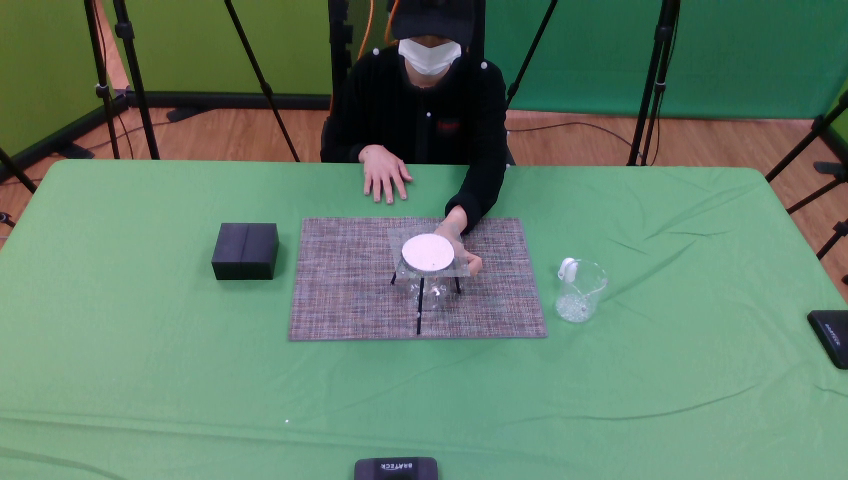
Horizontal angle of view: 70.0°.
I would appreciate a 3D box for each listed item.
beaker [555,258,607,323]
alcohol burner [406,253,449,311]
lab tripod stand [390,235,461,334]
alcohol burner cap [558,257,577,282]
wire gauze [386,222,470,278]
[{"bbox_3d":[0.275,0.094,1.073,0.074,0.101,0.083,10,47,6],"label":"beaker"},{"bbox_3d":[0.007,0.068,1.062,0.078,0.120,0.077,1,45,-1],"label":"alcohol burner"},{"bbox_3d":[-0.002,0.067,1.050,0.148,0.132,0.147,1,47,-1],"label":"lab tripod stand"},{"bbox_3d":[0.276,0.053,1.154,0.034,0.048,0.033,2,46,-1],"label":"alcohol burner cap"},{"bbox_3d":[0.004,0.017,1.005,0.125,0.011,0.120,-5,46,-8],"label":"wire gauze"}]
